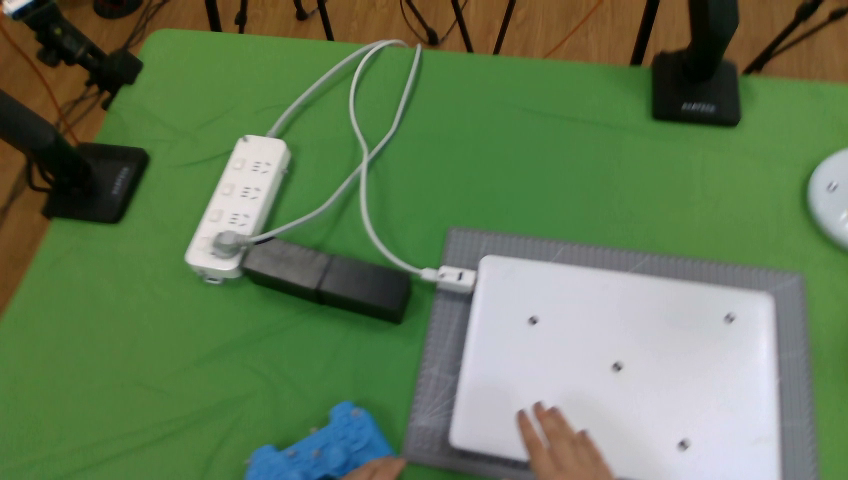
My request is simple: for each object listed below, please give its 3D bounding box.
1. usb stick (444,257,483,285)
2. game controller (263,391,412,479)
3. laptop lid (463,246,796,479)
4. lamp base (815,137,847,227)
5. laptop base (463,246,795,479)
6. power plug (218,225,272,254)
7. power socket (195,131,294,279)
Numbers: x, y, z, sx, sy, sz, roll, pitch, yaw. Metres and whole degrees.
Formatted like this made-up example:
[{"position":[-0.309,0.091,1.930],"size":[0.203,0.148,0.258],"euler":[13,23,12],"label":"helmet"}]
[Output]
[{"position":[0.056,0.040,0.749],"size":[0.059,0.027,0.021],"euler":[11,61,4],"label":"usb stick"},{"position":[-0.099,0.234,0.662],"size":[0.155,0.052,0.096],"euler":[-28,62,-11],"label":"game controller"},{"position":[0.232,0.131,0.694],"size":[0.356,0.013,0.240],"euler":[8,67,8],"label":"laptop lid"},{"position":[0.592,-0.112,0.715],"size":[0.159,0.182,0.179],"euler":[39,69,20],"label":"lamp base"},{"position":[0.234,0.134,0.705],"size":[0.354,0.023,0.234],"euler":[7,67,7],"label":"laptop base"},{"position":[-0.227,0.006,0.769],"size":[0.072,0.053,0.035],"euler":[20,66,11],"label":"power plug"},{"position":[-0.240,-0.055,0.822],"size":[0.072,0.033,0.225],"euler":[10,64,7],"label":"power socket"}]
